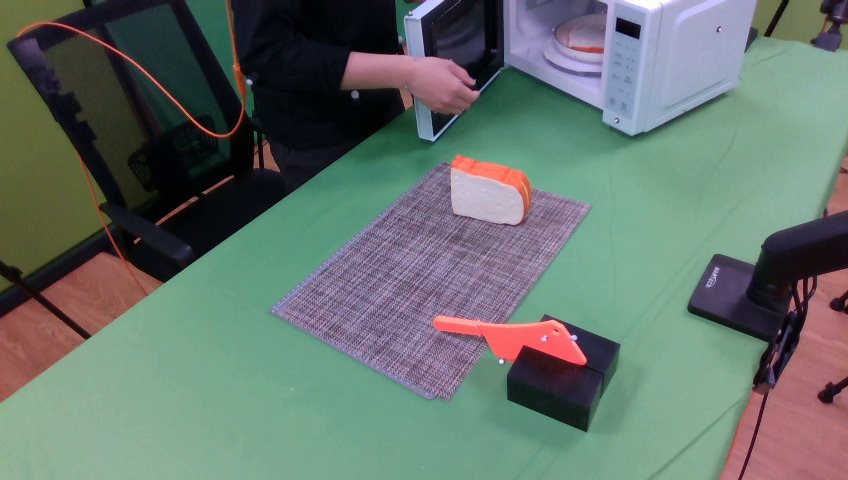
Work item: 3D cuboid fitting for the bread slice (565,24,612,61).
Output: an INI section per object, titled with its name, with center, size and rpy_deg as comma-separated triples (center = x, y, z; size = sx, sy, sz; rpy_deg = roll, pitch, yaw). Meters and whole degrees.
[bread slice]
center = 0.361, -0.431, 1.318
size = 0.107, 0.018, 0.134
rpy_deg = 3, 49, 9

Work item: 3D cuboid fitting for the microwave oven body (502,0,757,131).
[microwave oven body]
center = 0.396, -0.448, 1.248
size = 0.327, 0.261, 0.437
rpy_deg = -27, 44, -21

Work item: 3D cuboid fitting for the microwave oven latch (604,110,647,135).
[microwave oven latch]
center = 0.378, -0.225, 1.139
size = 0.030, 0.029, 0.078
rpy_deg = -27, 43, -20

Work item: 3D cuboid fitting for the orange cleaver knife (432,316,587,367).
[orange cleaver knife]
center = 0.101, 0.127, 0.761
size = 0.210, 0.077, 0.012
rpy_deg = -1, 34, 40

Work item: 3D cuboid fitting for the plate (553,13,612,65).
[plate]
center = 0.383, -0.429, 1.305
size = 0.207, 0.039, 0.206
rpy_deg = -5, 42, 5

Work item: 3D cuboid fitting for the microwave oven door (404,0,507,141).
[microwave oven door]
center = 0.077, -0.396, 1.225
size = 0.039, 0.245, 0.356
rpy_deg = 16, 46, 25
